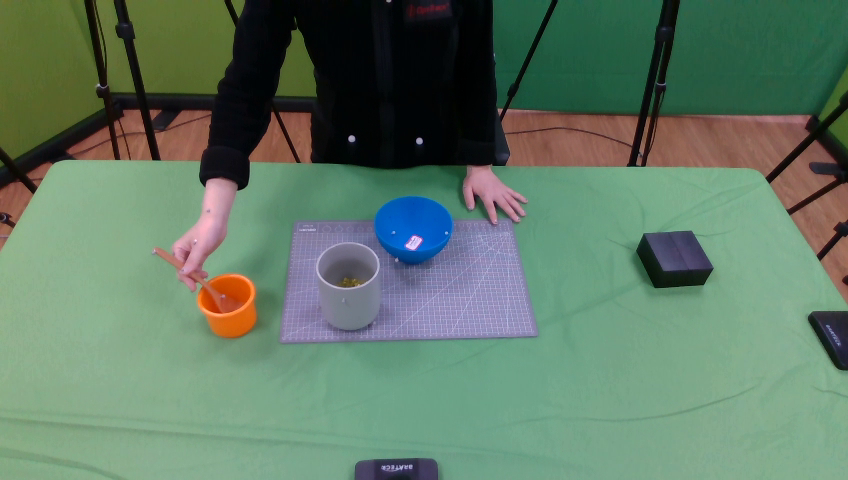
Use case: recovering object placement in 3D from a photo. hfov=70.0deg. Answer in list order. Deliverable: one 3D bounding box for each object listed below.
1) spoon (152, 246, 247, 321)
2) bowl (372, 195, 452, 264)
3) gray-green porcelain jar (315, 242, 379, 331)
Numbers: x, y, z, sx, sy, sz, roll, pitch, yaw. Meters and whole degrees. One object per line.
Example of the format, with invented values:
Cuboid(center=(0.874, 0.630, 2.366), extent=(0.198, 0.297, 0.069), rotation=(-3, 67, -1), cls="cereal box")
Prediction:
Cuboid(center=(-0.367, 0.071, 1.000), extent=(0.021, 0.195, 0.041), rotation=(-21, 36, 26), cls="spoon")
Cuboid(center=(-0.023, -0.008, 1.161), extent=(0.151, 0.077, 0.150), rotation=(2, 46, -2), cls="bowl")
Cuboid(center=(-0.129, 0.084, 1.031), extent=(0.106, 0.127, 0.105), rotation=(2, 46, -2), cls="gray-green porcelain jar")
